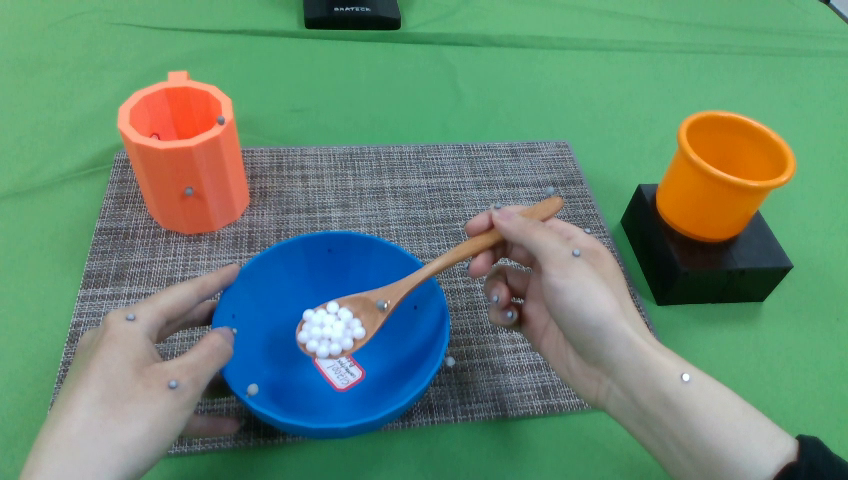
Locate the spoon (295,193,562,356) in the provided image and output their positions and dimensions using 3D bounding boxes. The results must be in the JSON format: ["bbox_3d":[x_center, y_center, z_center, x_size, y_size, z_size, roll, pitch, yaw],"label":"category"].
[{"bbox_3d":[0.006,0.019,0.388,0.194,0.022,0.041,-31,48,-2],"label":"spoon"}]

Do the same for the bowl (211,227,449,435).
[{"bbox_3d":[-0.062,0.072,0.416,0.151,0.077,0.150,4,49,-5],"label":"bowl"}]

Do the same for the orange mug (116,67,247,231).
[{"bbox_3d":[-0.203,-0.085,0.516,0.084,0.101,0.125,-9,56,-15],"label":"orange mug"}]
